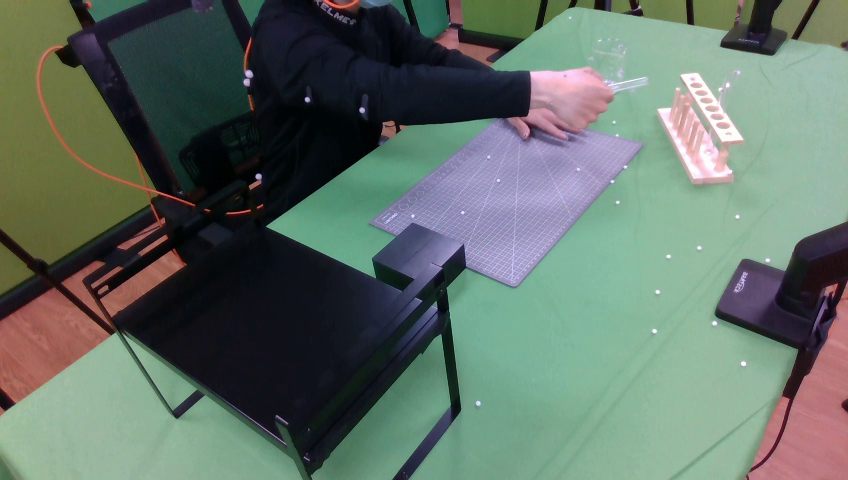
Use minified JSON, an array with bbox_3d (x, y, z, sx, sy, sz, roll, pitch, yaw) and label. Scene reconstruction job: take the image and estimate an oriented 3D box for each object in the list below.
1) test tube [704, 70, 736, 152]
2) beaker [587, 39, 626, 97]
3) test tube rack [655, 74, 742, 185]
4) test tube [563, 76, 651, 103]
[{"bbox_3d":[0.501,-0.216,1.028,0.017,0.151,0.017,-2,40,2],"label":"test tube"},{"bbox_3d":[0.386,-0.361,1.280,0.074,0.101,0.083,-22,43,-15],"label":"beaker"},{"bbox_3d":[0.488,-0.205,1.093,0.067,0.085,0.241,-3,41,5],"label":"test tube rack"},{"bbox_3d":[0.319,-0.263,1.059,0.150,0.017,0.017,-9,38,20],"label":"test tube"}]
